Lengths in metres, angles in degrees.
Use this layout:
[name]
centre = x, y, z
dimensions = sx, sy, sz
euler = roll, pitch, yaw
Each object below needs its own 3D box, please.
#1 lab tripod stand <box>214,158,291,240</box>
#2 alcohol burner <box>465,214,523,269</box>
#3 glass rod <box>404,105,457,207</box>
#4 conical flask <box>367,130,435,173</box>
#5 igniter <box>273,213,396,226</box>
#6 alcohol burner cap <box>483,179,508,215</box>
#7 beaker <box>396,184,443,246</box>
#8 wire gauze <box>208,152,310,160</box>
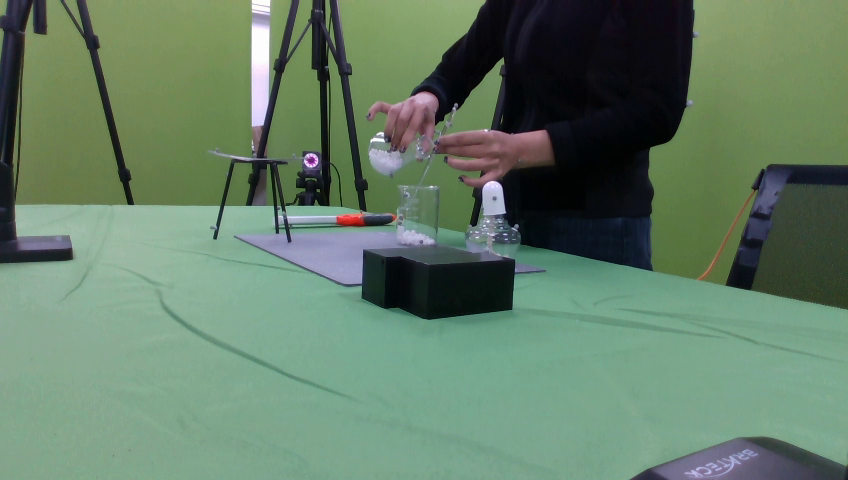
[lab tripod stand]
centre = -0.268, -0.068, 1.002
dimensions = 0.148, 0.131, 0.148
euler = 3, 6, 0
[alcohol burner]
centre = 0.094, -0.022, 0.815
dimensions = 0.078, 0.119, 0.078
euler = 0, 7, 0
[glass rod]
centre = 0.009, -0.131, 0.975
dimensions = 0.008, 0.199, 0.008
euler = 20, 33, -13
[conical flask]
centre = -0.034, -0.154, 1.020
dimensions = 0.076, 0.075, 0.121
euler = -4, 3, -40
[igniter]
centre = -0.178, -0.044, 1.258
dimensions = 0.278, 0.025, 0.057
euler = -3, -1, -39
[alcohol burner cap]
centre = 0.094, -0.057, 0.810
dimensions = 0.034, 0.048, 0.034
euler = -7, 6, 1
[beaker]
centre = -0.011, -0.043, 1.004
dimensions = 0.083, 0.100, 0.074
euler = 8, 9, 39
[wire gauze]
centre = -0.270, -0.135, 0.993
dimensions = 0.124, 0.011, 0.122
euler = 9, 8, 41
